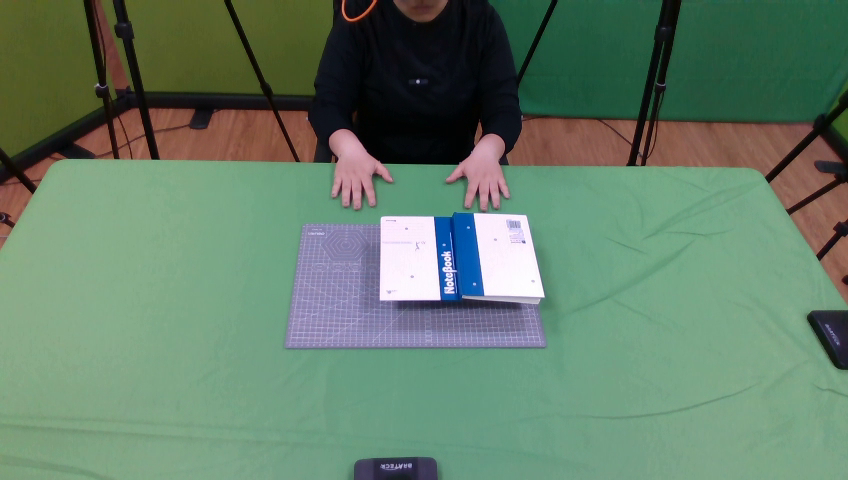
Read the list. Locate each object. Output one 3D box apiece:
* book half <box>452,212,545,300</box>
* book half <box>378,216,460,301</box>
[{"bbox_3d":[0.132,0.026,1.116,0.149,0.016,0.209,2,45,-5],"label":"book half"},{"bbox_3d":[-0.011,0.029,1.111,0.143,0.007,0.208,0,46,-4],"label":"book half"}]
